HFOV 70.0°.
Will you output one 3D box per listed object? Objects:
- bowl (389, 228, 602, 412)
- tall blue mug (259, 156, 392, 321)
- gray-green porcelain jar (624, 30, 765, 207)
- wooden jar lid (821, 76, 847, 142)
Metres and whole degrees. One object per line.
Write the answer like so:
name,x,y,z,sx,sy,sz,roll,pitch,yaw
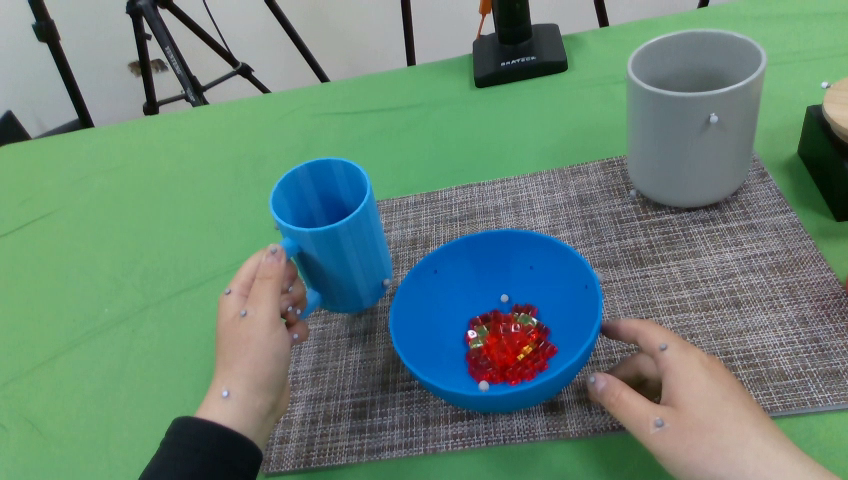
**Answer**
bowl,0.056,0.070,0.447,0.151,0.077,0.150,-10,42,9
tall blue mug,-0.074,0.010,0.478,0.077,0.109,0.106,3,51,10
gray-green porcelain jar,0.231,-0.101,0.531,0.106,0.128,0.105,-9,43,9
wooden jar lid,0.385,-0.105,0.494,0.108,0.021,0.107,-10,42,10
